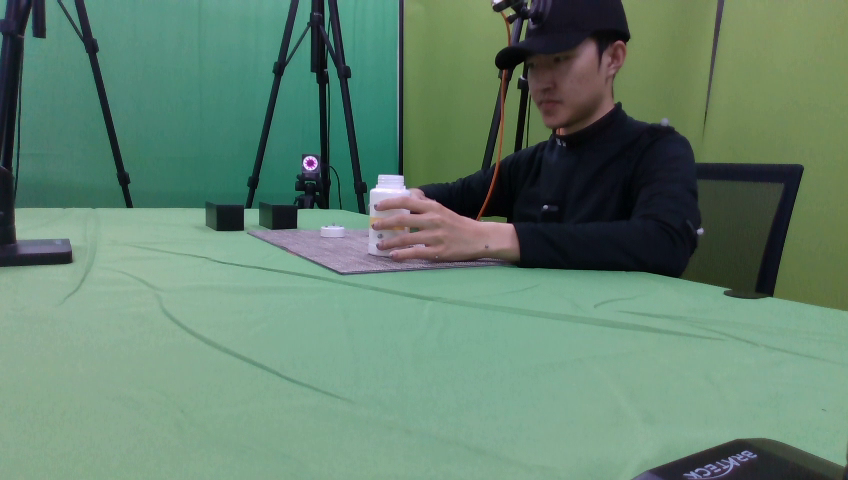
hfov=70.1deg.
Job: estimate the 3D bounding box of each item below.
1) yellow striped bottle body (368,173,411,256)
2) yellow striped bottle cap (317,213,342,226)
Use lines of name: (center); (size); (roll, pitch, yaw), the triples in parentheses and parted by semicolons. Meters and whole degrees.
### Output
yellow striped bottle body: (-0.051, -0.040, 0.904); (0.063, 0.120, 0.063); (2, 7, 0)
yellow striped bottle cap: (-0.171, -0.038, 1.102); (0.044, 0.018, 0.044); (-4, 13, 1)
